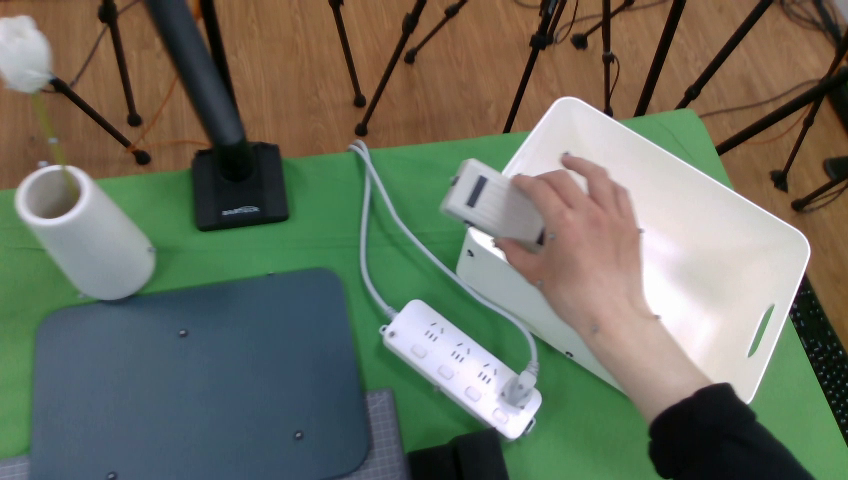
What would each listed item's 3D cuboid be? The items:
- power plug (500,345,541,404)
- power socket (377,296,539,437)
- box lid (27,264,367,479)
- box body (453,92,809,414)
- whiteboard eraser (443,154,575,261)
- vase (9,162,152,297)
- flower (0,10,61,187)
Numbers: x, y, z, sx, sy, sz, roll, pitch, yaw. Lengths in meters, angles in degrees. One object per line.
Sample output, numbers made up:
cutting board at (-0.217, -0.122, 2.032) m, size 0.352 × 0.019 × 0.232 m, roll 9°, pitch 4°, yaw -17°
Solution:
power plug at (0.123, 0.170, 0.740) m, size 0.072 × 0.053 × 0.035 m, roll -38°, pitch 75°, yaw -25°
power socket at (0.044, 0.157, 0.760) m, size 0.226 × 0.033 × 0.072 m, roll 37°, pitch 66°, yaw 9°
box lid at (-0.266, 0.173, 0.722) m, size 0.372 × 0.015 × 0.261 m, roll -9°, pitch 68°, yaw -12°
box body at (0.244, 0.023, 0.775) m, size 0.363 × 0.161 × 0.253 m, roll 33°, pitch 66°, yaw 7°
whiteboard eraser at (0.078, -0.029, 0.555) m, size 0.113 × 0.042 × 0.055 m, roll 27°, pitch 82°, yaw -7°
vase at (-0.379, -0.008, 0.681) m, size 0.098 × 0.201 × 0.097 m, roll 3°, pitch 64°, yaw -7°
flower at (-0.367, -0.056, 0.613) m, size 0.044 × 0.364 × 0.038 m, roll 25°, pitch 49°, yaw 10°
